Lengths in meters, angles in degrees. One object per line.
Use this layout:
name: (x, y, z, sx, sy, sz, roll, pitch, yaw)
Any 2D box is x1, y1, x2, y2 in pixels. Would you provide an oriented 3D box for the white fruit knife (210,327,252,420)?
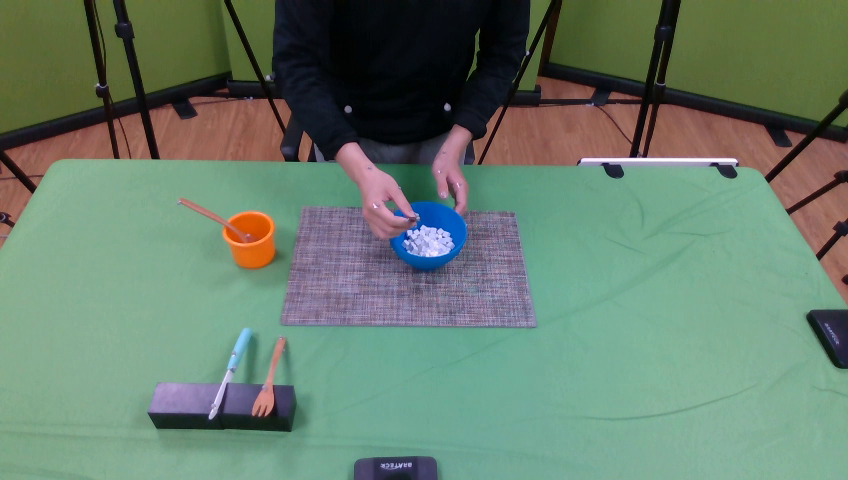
white fruit knife: (-0.298, 0.200, 0.937, 0.016, 0.027, 0.206, 0, 30, 0)

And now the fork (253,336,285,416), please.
fork: (-0.235, 0.206, 0.938, 0.028, 0.019, 0.206, -2, 26, -3)

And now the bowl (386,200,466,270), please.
bowl: (0.002, 0.004, 1.150, 0.151, 0.077, 0.150, 2, 46, -2)

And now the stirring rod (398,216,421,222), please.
stirring rod: (-0.027, -0.037, 1.052, 0.014, 0.176, 0.006, 11, 89, -11)

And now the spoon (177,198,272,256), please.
spoon: (-0.361, -0.025, 1.106, 0.195, 0.021, 0.041, 39, 34, -31)
